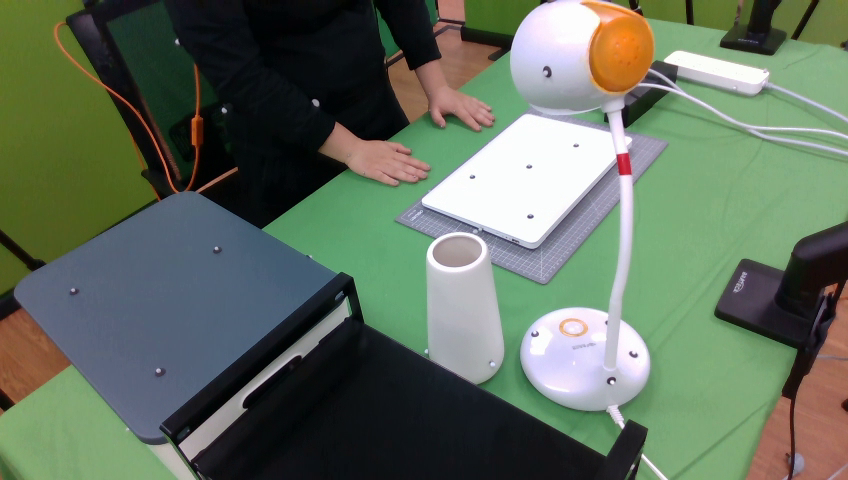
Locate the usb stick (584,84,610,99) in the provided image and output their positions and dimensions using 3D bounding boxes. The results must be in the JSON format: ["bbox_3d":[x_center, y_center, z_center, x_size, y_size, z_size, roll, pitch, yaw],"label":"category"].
[{"bbox_3d":[0.353,-0.306,1.252,0.027,0.021,0.058,0,-1,-41],"label":"usb stick"}]

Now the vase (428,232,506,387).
[{"bbox_3d":[0.050,0.087,0.728,0.098,0.201,0.097,-3,40,3],"label":"vase"}]

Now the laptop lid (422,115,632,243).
[{"bbox_3d":[0.189,-0.126,1.081,0.239,0.013,0.358,23,48,35],"label":"laptop lid"}]

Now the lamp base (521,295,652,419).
[{"bbox_3d":[0.201,0.095,0.710,0.161,0.181,0.178,-16,43,-10],"label":"lamp base"}]

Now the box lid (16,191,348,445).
[{"bbox_3d":[-0.295,0.062,0.723,0.368,0.015,0.264,26,51,34],"label":"box lid"}]

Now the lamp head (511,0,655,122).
[{"bbox_3d":[0.155,-0.168,0.563,0.113,0.113,0.122,-18,23,-12],"label":"lamp head"}]

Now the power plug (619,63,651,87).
[{"bbox_3d":[0.435,-0.341,1.265,0.035,0.053,0.072,6,30,-14],"label":"power plug"}]

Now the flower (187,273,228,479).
[{"bbox_3d":[-0.282,0.161,0.819,0.044,0.038,0.359,10,34,-22],"label":"flower"}]

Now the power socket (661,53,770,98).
[{"bbox_3d":[0.617,-0.355,1.292,0.225,0.033,0.072,29,53,35],"label":"power socket"}]

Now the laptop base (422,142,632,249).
[{"bbox_3d":[0.192,-0.116,1.087,0.233,0.023,0.355,21,47,34],"label":"laptop base"}]

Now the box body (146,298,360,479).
[{"bbox_3d":[-0.288,0.118,0.772,0.361,0.161,0.255,26,50,33],"label":"box body"}]
